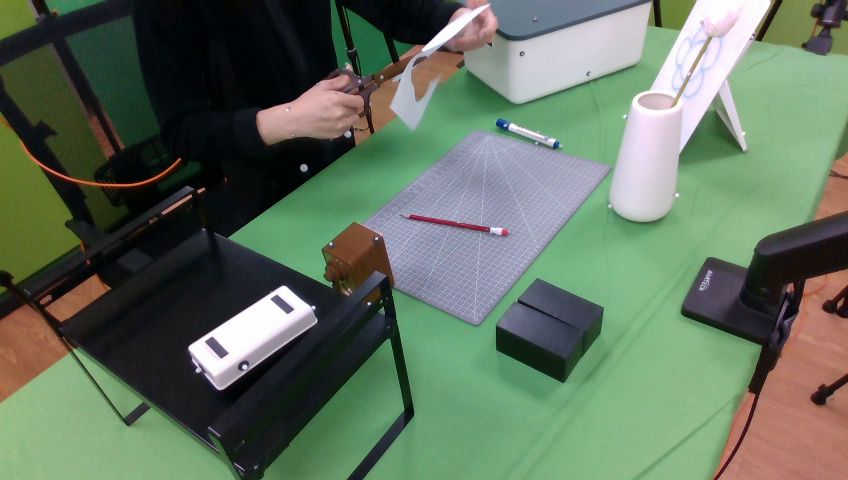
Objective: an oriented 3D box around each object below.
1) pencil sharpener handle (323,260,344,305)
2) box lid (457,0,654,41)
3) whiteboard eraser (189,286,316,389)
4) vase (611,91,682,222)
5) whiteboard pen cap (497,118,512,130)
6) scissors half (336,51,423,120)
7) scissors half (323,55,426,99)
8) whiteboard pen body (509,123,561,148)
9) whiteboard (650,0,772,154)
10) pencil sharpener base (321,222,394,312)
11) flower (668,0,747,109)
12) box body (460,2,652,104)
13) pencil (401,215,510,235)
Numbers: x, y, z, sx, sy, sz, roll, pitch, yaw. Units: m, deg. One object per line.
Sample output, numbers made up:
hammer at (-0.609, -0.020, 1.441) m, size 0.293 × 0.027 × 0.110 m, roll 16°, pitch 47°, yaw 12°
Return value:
pencil sharpener handle at (-0.131, 0.061, 0.839) m, size 0.035 × 0.068 × 0.031 m, roll 29°, pitch 56°, yaw 28°
box lid at (0.285, -0.522, 1.323) m, size 0.373 × 0.015 × 0.261 m, roll -22°, pitch 43°, yaw -16°
whiteboard eraser at (-0.166, 0.096, 0.593) m, size 0.113 × 0.042 × 0.055 m, roll -36°, pitch 47°, yaw -29°
vase at (0.348, -0.125, 0.935) m, size 0.098 × 0.201 × 0.097 m, roll -3°, pitch 40°, yaw 3°
whiteboard pen cap at (0.165, -0.235, 1.227) m, size 0.033 × 0.018 × 0.018 m, roll 31°, pitch 53°, yaw 31°
scissors half at (-0.067, -0.233, 0.912) m, size 0.174 × 0.040 × 0.013 m, roll -32°, pitch 17°, yaw 30°
scissors half at (-0.077, -0.249, 0.905) m, size 0.174 × 0.040 × 0.013 m, roll -10°, pitch 32°, yaw 21°
whiteboard pen body at (0.209, -0.211, 1.195) m, size 0.139 × 0.017 × 0.017 m, roll 30°, pitch 52°, yaw 33°
whiteboard at (0.543, -0.298, 1.076) m, size 0.144 × 0.305 × 0.216 m, roll 12°, pitch 40°, yaw -7°
pencil sharpener base at (-0.096, 0.041, 0.873) m, size 0.061 × 0.107 × 0.077 m, roll 26°, pitch 54°, yaw 32°
flower at (0.354, -0.187, 0.879) m, size 0.038 × 0.362 × 0.044 m, roll 30°, pitch 48°, yaw 14°
box body at (0.291, -0.465, 1.371) m, size 0.365 × 0.161 × 0.252 m, roll -22°, pitch 42°, yaw -16°
pencil at (0.049, -0.027, 1.007) m, size 0.193 × 0.012 × 0.012 m, roll 10°, pitch 43°, yaw 21°
